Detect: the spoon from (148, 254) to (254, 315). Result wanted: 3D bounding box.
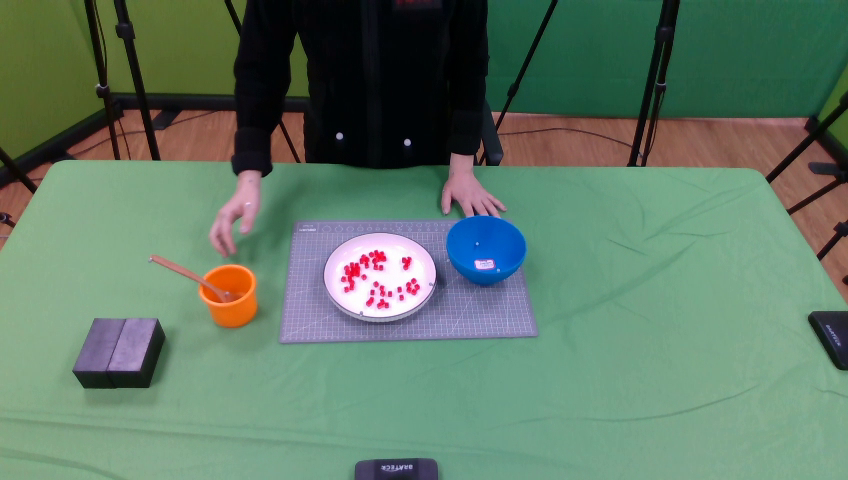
[{"bbox_3d":[-0.368,0.072,1.011,0.021,0.195,0.041,-31,36,29],"label":"spoon"}]

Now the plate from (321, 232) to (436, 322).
[{"bbox_3d":[-0.083,0.070,1.109,0.209,0.038,0.208,3,46,-3],"label":"plate"}]

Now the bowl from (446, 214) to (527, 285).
[{"bbox_3d":[0.112,0.031,1.134,0.151,0.077,0.150,2,46,-2],"label":"bowl"}]
